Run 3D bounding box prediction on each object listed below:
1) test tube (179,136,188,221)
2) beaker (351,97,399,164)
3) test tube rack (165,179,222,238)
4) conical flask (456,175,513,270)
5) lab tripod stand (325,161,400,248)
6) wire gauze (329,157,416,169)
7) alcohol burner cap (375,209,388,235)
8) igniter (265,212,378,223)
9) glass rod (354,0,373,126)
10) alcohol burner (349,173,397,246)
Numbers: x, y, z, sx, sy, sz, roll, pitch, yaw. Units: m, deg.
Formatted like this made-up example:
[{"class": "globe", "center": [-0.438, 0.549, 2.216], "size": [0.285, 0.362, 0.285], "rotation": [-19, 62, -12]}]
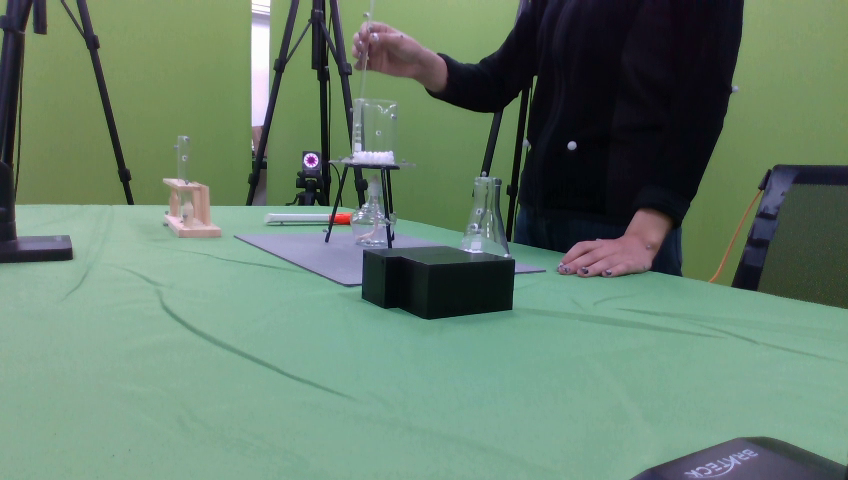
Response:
[{"class": "test tube", "center": [-0.425, -0.108, 1.070], "size": [0.017, 0.150, 0.017], "rotation": [4, 9, 0]}, {"class": "beaker", "center": [-0.078, -0.172, 0.963], "size": [0.074, 0.100, 0.084], "rotation": [6, 8, 18]}, {"class": "test tube rack", "center": [-0.423, -0.062, 1.098], "size": [0.067, 0.085, 0.241], "rotation": [-2, 8, -28]}, {"class": "conical flask", "center": [0.083, -0.025, 0.801], "size": [0.075, 0.122, 0.075], "rotation": [2, 7, 0]}, {"class": "lab tripod stand", "center": [-0.083, -0.059, 0.977], "size": [0.148, 0.131, 0.148], "rotation": [4, 8, 0]}, {"class": "wire gauze", "center": [-0.079, -0.125, 0.972], "size": [0.121, 0.011, 0.125], "rotation": [6, 6, 5]}, {"class": "alcohol burner cap", "center": [-0.076, -0.035, 1.145], "size": [0.034, 0.048, 0.034], "rotation": [1, 7, 0]}, {"class": "igniter", "center": [-0.195, -0.048, 1.285], "size": [0.278, 0.025, 0.057], "rotation": [-2, -2, -30]}, {"class": "glass rod", "center": [-0.095, -0.278, 0.949], "size": [0.008, 0.199, 0.008], "rotation": [8, 3, 0]}, {"class": "alcohol burner", "center": [-0.081, -0.050, 0.982], "size": [0.078, 0.119, 0.078], "rotation": [4, 8, 0]}]
